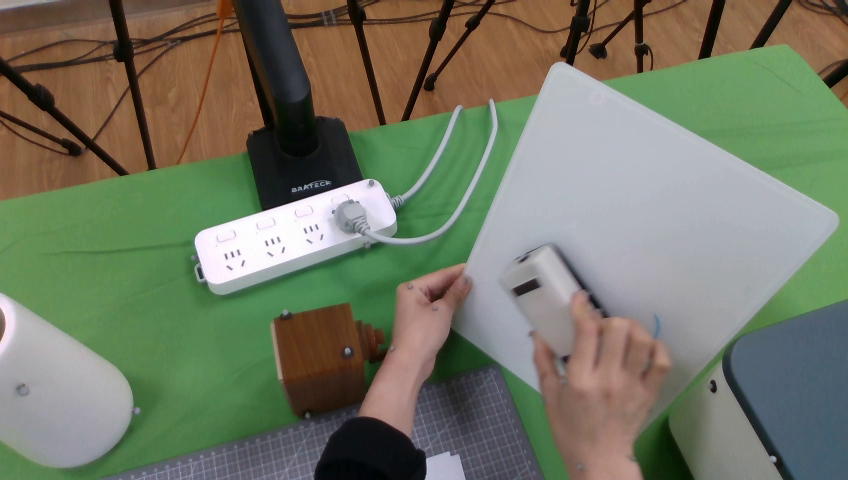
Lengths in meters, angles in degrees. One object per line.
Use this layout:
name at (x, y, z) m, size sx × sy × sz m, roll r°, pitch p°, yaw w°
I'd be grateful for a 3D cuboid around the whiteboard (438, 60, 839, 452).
whiteboard at (0.177, 0.007, 0.552) m, size 0.216 × 0.307 × 0.144 m, roll 35°, pitch 44°, yaw 17°

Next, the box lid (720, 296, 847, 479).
box lid at (0.401, 0.195, 0.414) m, size 0.264 × 0.015 × 0.367 m, roll -14°, pitch 61°, yaw -13°

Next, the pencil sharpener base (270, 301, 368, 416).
pencil sharpener base at (-0.091, 0.109, 0.550) m, size 0.077 × 0.108 × 0.061 m, roll -11°, pitch 59°, yaw -11°

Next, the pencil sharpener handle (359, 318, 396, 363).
pencil sharpener handle at (-0.041, 0.092, 0.550) m, size 0.031 × 0.068 × 0.035 m, roll -11°, pitch 59°, yaw -11°

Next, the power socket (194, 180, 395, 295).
power socket at (-0.137, -0.006, 0.660) m, size 0.227 × 0.033 × 0.071 m, roll -19°, pitch 63°, yaw -15°

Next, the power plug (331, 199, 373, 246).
power plug at (-0.077, -0.011, 0.640) m, size 0.035 × 0.053 × 0.072 m, roll -10°, pitch 61°, yaw -10°

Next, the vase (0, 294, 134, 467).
vase at (-0.309, 0.113, 0.478) m, size 0.098 × 0.201 × 0.097 m, roll 1°, pitch 58°, yaw -2°

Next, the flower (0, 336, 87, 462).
flower at (-0.304, 0.054, 0.417) m, size 0.038 × 0.365 × 0.043 m, roll -25°, pitch 45°, yaw -26°

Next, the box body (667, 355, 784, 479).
box body at (0.397, 0.236, 0.476) m, size 0.254 × 0.161 × 0.360 m, roll -15°, pitch 61°, yaw -13°

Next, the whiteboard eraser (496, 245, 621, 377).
whiteboard eraser at (0.114, 0.059, 0.511) m, size 0.042 × 0.055 × 0.113 m, roll -37°, pitch 93°, yaw -42°
